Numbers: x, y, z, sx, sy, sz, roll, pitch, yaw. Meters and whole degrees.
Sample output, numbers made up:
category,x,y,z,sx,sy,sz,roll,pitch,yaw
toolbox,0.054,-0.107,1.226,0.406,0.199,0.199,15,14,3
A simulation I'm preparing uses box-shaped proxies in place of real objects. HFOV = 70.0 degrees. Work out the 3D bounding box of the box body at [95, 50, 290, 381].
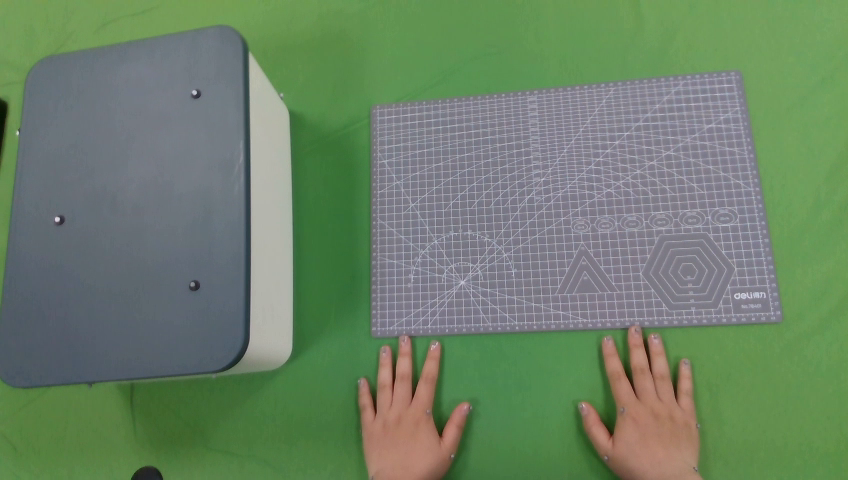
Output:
category,x,y,z,sx,sy,sz,roll,pitch,yaw
box body,-0.295,-0.025,0.691,0.254,0.161,0.362,-6,75,6

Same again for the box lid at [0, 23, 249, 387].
category,x,y,z,sx,sy,sz,roll,pitch,yaw
box lid,-0.306,-0.046,0.620,0.263,0.015,0.369,-6,76,7
